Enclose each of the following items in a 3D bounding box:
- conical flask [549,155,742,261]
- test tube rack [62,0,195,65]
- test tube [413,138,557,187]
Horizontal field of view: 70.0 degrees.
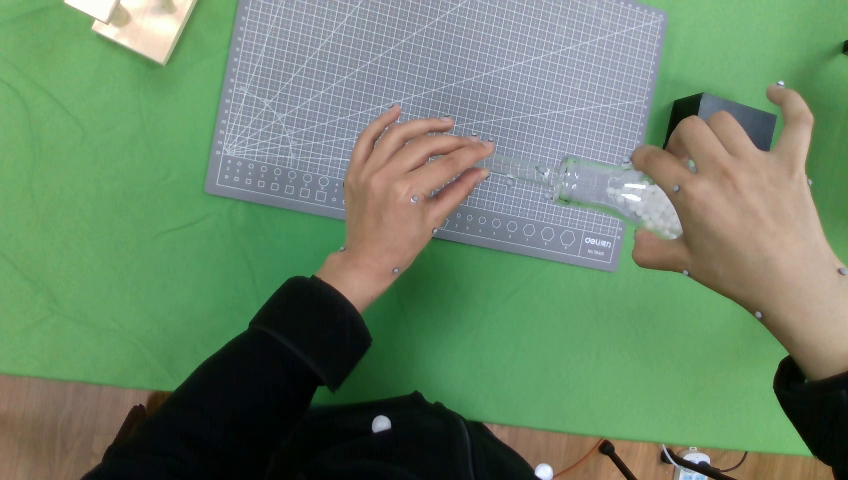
[{"bbox_3d":[0.155,-0.032,0.438,0.122,0.075,0.075,12,91,1],"label":"conical flask"},{"bbox_3d":[-0.213,-0.284,0.523,0.067,0.085,0.242,25,88,-14],"label":"test tube rack"},{"bbox_3d":[0.045,-0.066,0.501,0.017,0.149,0.017,-20,120,-40],"label":"test tube"}]
